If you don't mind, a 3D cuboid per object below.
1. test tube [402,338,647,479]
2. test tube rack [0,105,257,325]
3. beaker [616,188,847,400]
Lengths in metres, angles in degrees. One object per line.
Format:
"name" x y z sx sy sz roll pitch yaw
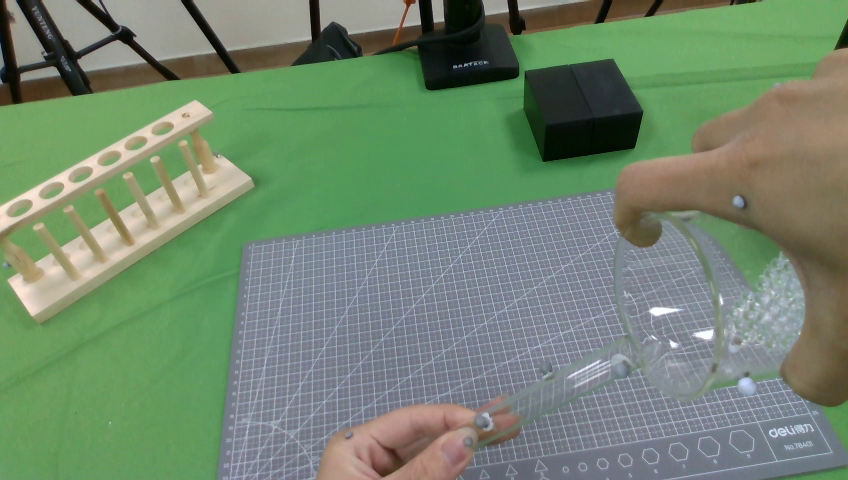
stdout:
"test tube" 0.043 0.089 0.303 0.150 0.017 0.017 -37 40 29
"test tube rack" -0.295 -0.031 0.600 0.242 0.086 0.066 -38 55 -25
"beaker" 0.140 0.020 0.244 0.100 0.084 0.073 -8 53 -8
